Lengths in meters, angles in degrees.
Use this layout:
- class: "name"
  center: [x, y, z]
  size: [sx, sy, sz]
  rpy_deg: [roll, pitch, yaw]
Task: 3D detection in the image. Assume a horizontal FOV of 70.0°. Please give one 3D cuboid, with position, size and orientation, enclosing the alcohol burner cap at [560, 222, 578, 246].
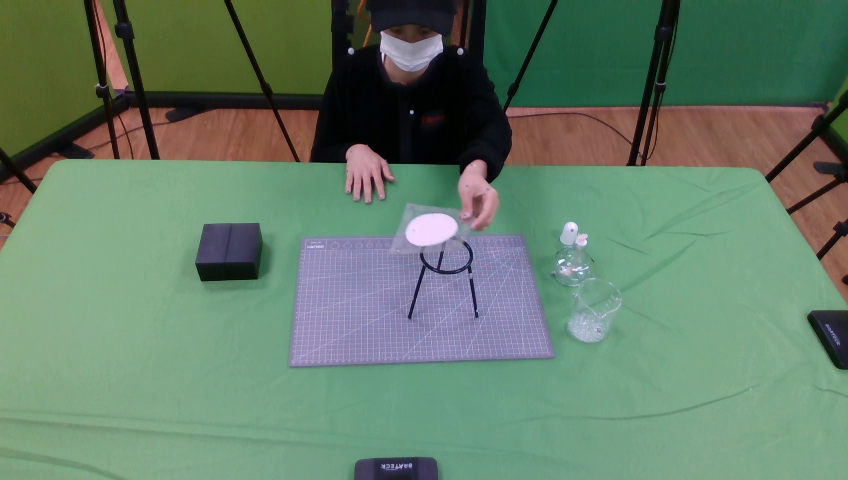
- class: "alcohol burner cap"
  center: [0.295, -0.015, 1.223]
  size: [0.034, 0.048, 0.033]
  rpy_deg: [2, 47, -2]

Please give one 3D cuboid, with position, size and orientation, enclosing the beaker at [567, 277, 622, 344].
- class: "beaker"
  center: [0.290, 0.127, 1.045]
  size: [0.074, 0.101, 0.083]
  rpy_deg: [7, 47, 4]

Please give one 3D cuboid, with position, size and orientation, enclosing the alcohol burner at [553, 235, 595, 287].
- class: "alcohol burner"
  center: [0.282, 0.032, 1.127]
  size: [0.078, 0.120, 0.077]
  rpy_deg: [1, 48, -1]

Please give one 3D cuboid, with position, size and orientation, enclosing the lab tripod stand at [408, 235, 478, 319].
- class: "lab tripod stand"
  center: [0.032, 0.065, 1.057]
  size: [0.148, 0.132, 0.147]
  rpy_deg: [1, 45, -1]

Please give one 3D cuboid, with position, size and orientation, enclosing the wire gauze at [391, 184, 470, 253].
- class: "wire gauze"
  center: [0.007, -0.033, 0.978]
  size: [0.125, 0.011, 0.120]
  rpy_deg: [-16, 43, 6]
